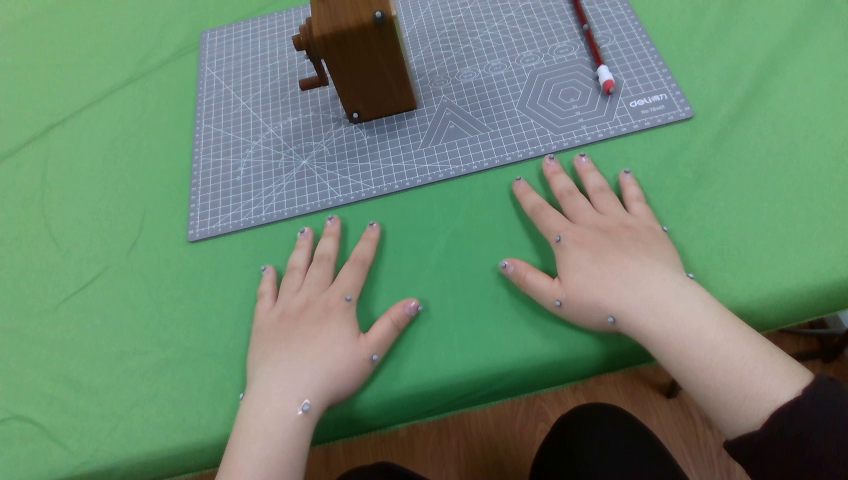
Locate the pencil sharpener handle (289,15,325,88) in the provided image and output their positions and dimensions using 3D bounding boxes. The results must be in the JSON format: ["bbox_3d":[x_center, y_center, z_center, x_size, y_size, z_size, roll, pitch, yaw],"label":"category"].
[{"bbox_3d":[-0.109,-0.163,0.536,0.030,0.068,0.035,-14,56,3],"label":"pencil sharpener handle"}]

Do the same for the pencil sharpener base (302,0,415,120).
[{"bbox_3d":[-0.057,-0.169,0.544,0.076,0.108,0.060,-14,56,3],"label":"pencil sharpener base"}]

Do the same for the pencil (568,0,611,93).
[{"bbox_3d":[0.152,-0.211,0.588,0.012,0.012,0.192,-10,55,5],"label":"pencil"}]
